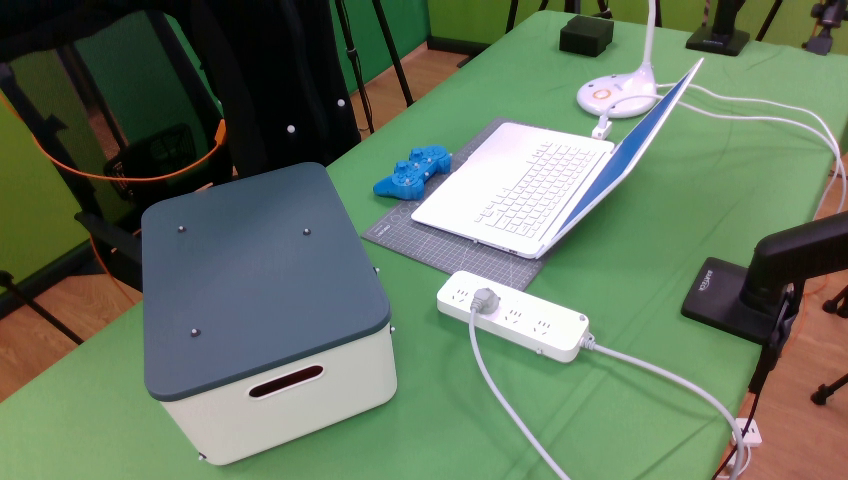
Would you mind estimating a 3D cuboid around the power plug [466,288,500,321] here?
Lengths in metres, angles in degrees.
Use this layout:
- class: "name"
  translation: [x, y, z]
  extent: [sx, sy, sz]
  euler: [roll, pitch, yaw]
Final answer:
- class: "power plug"
  translation: [0.072, 0.093, 0.813]
  extent: [0.035, 0.053, 0.073]
  euler: [30, 54, 35]

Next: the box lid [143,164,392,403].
- class: "box lid"
  translation: [-0.212, 0.025, 0.753]
  extent: [0.264, 0.015, 0.368]
  euler: [-18, 40, -13]

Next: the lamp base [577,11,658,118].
- class: "lamp base"
  translation: [0.406, -0.363, 1.222]
  extent: [0.180, 0.181, 0.159]
  euler: [-20, 42, -18]

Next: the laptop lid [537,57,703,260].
- class: "laptop lid"
  translation: [0.304, -0.127, 0.928]
  extent: [0.013, 0.241, 0.357]
  euler: [39, 51, 4]

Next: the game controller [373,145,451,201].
- class: "game controller"
  translation: [-0.018, -0.130, 1.111]
  extent: [0.096, 0.052, 0.155]
  euler: [22, 49, 26]

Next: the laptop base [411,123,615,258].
- class: "laptop base"
  translation: [0.167, -0.102, 1.074]
  extent: [0.234, 0.023, 0.355]
  euler: [16, 45, 30]

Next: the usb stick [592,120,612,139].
- class: "usb stick"
  translation: [0.335, -0.203, 1.149]
  extent: [0.021, 0.027, 0.059]
  euler: [26, 53, 26]

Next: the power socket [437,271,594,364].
- class: "power socket"
  translation: [0.118, 0.102, 0.830]
  extent: [0.225, 0.033, 0.072]
  euler: [20, 48, 28]

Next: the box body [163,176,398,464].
- class: "box body"
  translation: [-0.205, 0.080, 0.802]
  extent: [0.255, 0.161, 0.361]
  euler: [-18, 41, -13]
